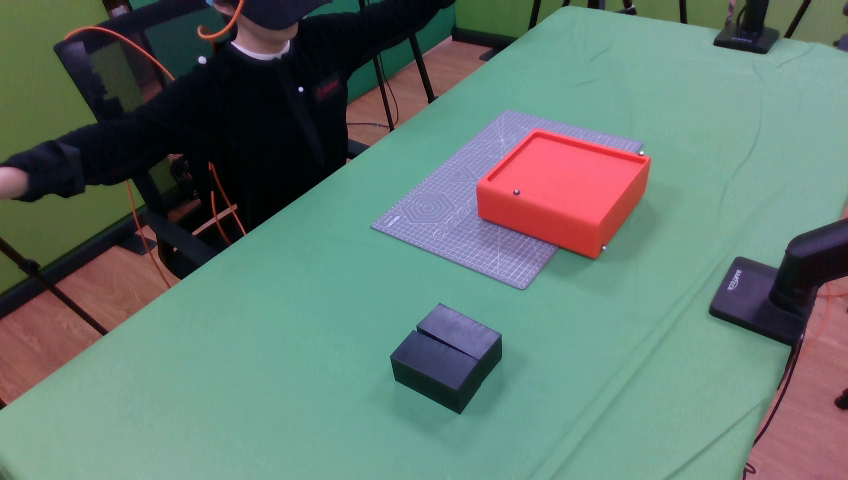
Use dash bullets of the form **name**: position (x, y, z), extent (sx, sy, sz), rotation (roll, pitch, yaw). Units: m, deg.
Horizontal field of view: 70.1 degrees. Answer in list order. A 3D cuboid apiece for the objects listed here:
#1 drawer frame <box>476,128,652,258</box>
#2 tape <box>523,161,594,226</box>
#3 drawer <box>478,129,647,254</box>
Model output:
- **drawer frame**: position (0.229, -0.086, 0.992), extent (0.212, 0.083, 0.202), rotation (22, 48, 29)
- **tape**: position (0.221, -0.078, 0.995), extent (0.117, 0.053, 0.116), rotation (-4, 40, 4)
- **drawer**: position (0.227, -0.085, 0.994), extent (0.210, 0.073, 0.195), rotation (23, 48, 30)
